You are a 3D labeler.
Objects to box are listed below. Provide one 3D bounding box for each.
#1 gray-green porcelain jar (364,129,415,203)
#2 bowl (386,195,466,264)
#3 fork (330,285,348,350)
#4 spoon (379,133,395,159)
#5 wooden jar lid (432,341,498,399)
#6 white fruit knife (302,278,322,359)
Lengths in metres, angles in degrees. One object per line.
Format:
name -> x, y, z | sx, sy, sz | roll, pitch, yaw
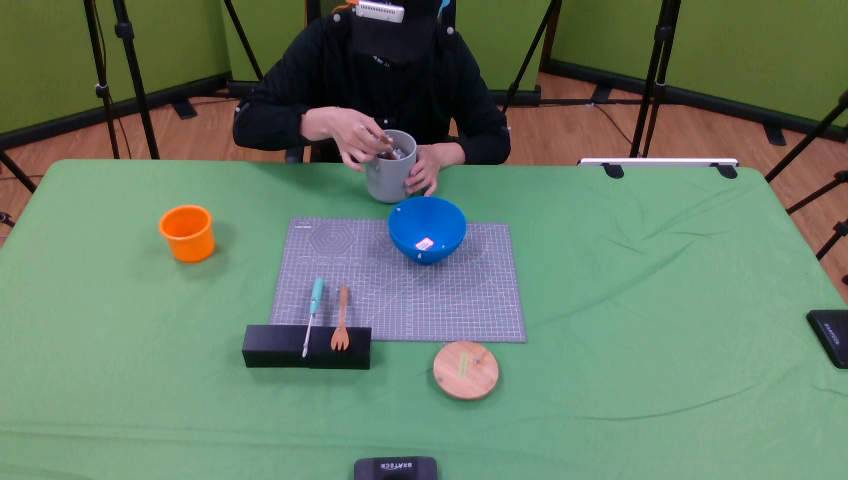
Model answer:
gray-green porcelain jar -> -0.073, -0.149, 1.264 | 0.106, 0.127, 0.105 | 2, 46, -2
bowl -> 0.003, -0.007, 1.162 | 0.151, 0.077, 0.150 | 2, 46, -2
fork -> -0.140, 0.127, 1.021 | 0.028, 0.019, 0.206 | -5, 28, -2
spoon -> -0.075, -0.183, 1.204 | 0.041, 0.194, 0.021 | 24, 82, 6
wooden jar lid -> 0.067, 0.216, 0.997 | 0.108, 0.021, 0.107 | 1, 46, -1
white fruit knife -> -0.189, 0.126, 1.020 | 0.016, 0.027, 0.206 | 0, 33, -2
